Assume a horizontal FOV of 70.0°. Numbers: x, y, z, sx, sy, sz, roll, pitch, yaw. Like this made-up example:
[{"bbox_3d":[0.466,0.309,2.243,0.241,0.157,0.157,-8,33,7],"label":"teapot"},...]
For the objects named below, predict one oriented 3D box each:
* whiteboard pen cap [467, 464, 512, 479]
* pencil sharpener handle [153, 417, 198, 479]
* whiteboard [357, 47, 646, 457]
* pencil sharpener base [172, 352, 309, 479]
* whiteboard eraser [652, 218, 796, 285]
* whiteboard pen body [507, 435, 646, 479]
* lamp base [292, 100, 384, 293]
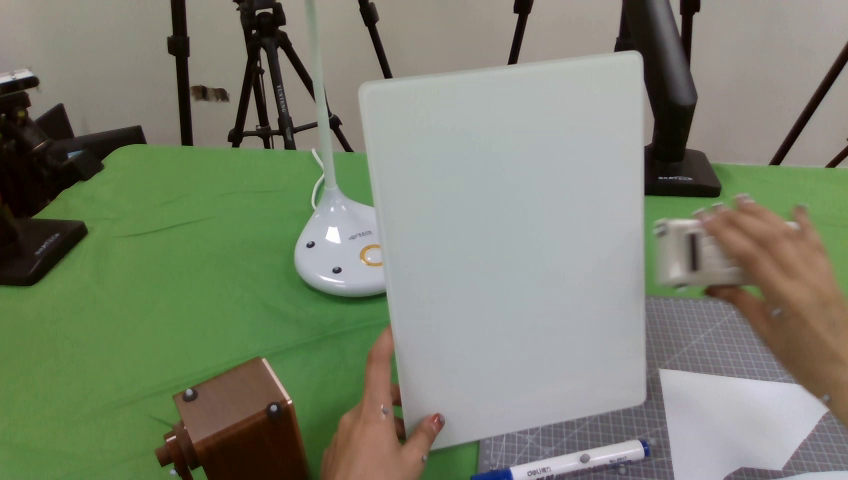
[{"bbox_3d":[0.052,0.185,0.471,0.033,0.018,0.018,-9,36,-11],"label":"whiteboard pen cap"},{"bbox_3d":[-0.179,0.161,0.426,0.031,0.068,0.035,-23,27,-26],"label":"pencil sharpener handle"},{"bbox_3d":[0.063,0.000,0.542,0.217,0.307,0.143,-9,17,-8],"label":"whiteboard"},{"bbox_3d":[-0.138,0.152,0.458,0.077,0.108,0.060,-23,41,-26],"label":"pencil sharpener base"},{"bbox_3d":[0.243,0.010,0.496,0.113,0.055,0.042,1,1,-6],"label":"whiteboard eraser"},{"bbox_3d":[0.109,0.176,0.481,0.141,0.017,0.017,-9,36,-8],"label":"whiteboard pen body"},{"bbox_3d":[-0.087,-0.058,0.688,0.161,0.182,0.177,-27,40,-31],"label":"lamp base"}]
